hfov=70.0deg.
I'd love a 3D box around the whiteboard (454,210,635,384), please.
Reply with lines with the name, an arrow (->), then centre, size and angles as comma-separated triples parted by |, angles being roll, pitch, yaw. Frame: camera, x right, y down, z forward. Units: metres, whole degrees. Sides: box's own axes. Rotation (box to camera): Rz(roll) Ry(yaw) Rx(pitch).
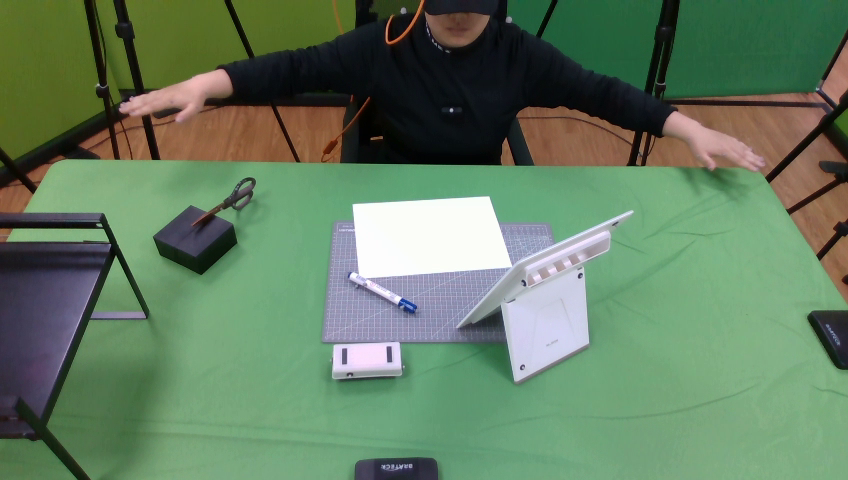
whiteboard -> 0.210, 0.110, 0.955 | 0.217, 0.306, 0.143 | -21, 72, -23

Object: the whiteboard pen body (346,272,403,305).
whiteboard pen body -> -0.081, 0.092, 1.098 | 0.140, 0.017, 0.017 | 26, 50, 17

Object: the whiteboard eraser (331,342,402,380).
whiteboard eraser -> -0.094, 0.198, 0.986 | 0.113, 0.042, 0.055 | -2, 44, -6

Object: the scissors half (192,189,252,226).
scissors half -> -0.393, -0.060, 1.187 | 0.013, 0.040, 0.175 | 24, 29, 12

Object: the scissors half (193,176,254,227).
scissors half -> -0.388, -0.075, 1.174 | 0.013, 0.040, 0.174 | 28, 47, 8

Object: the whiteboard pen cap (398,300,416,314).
whiteboard pen cap -> -0.031, 0.118, 1.081 | 0.033, 0.018, 0.018 | 23, 49, 20
